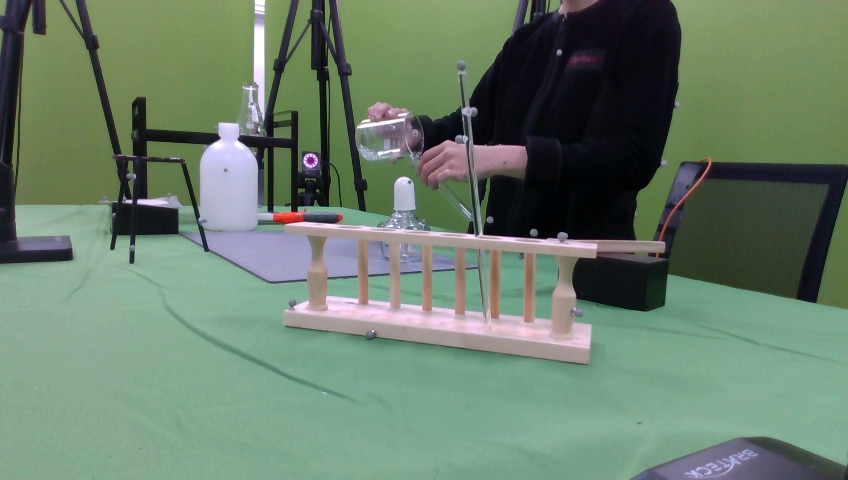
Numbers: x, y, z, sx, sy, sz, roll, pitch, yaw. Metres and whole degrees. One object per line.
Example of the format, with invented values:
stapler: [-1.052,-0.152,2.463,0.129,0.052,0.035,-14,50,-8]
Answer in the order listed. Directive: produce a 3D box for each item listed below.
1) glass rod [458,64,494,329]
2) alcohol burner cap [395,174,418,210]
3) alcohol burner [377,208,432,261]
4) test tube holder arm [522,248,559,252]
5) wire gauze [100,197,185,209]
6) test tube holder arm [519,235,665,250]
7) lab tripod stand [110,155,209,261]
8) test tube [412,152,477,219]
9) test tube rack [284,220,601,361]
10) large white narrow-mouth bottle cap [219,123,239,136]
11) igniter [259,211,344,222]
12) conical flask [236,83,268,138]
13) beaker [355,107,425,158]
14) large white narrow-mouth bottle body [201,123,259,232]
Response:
glass rod: [0.039,-0.029,0.449,0.008,0.199,0.008,-7,9,1]
alcohol burner cap: [-0.026,-0.067,0.833,0.034,0.048,0.034,-2,12,1]
alcohol burner: [-0.027,-0.031,0.838,0.078,0.119,0.078,0,6,0]
test tube holder arm: [0.144,0.005,0.636,0.088,0.015,0.010,-1,17,-19]
wire gauze: [-0.469,-0.062,1.008,0.126,0.011,0.121,-2,8,-25]
test tube holder arm: [0.185,0.002,0.656,0.179,0.015,0.013,-1,17,-20]
lab tripod stand: [-0.361,-0.046,0.806,0.148,0.131,0.148,2,5,0]
test tube: [0.034,-0.089,0.982,0.150,0.017,0.017,47,25,17]
test tube rack: [0.013,0.032,0.482,0.242,0.085,0.067,4,7,16]
large white narrow-mouth bottle cap: [-0.356,-0.201,1.105,0.038,0.024,0.037,2,8,0]
igniter: [-0.302,-0.048,1.249,0.278,0.025,0.057,-2,-2,-27]
conical flask: [-0.400,-0.298,1.396,0.075,0.122,0.075,2,8,0]
beaker: [-0.059,-0.175,1.021,0.100,0.084,0.074,-4,5,26]
large white narrow-mouth bottle body: [-0.358,-0.116,1.116,0.102,0.194,0.102,2,8,0]
